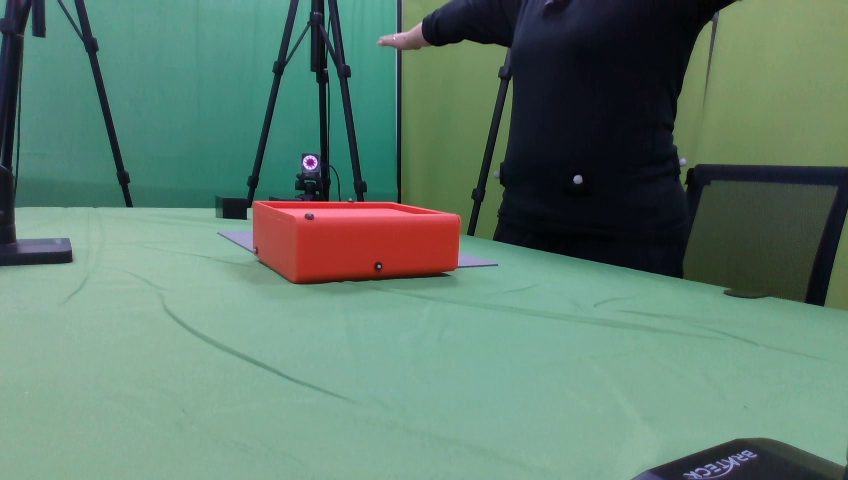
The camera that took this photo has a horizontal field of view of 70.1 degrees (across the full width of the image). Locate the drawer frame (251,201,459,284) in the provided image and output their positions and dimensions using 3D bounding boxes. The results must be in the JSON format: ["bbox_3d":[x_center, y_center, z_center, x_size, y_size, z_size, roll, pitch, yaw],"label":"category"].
[{"bbox_3d":[-0.095,-0.005,0.789,0.215,0.082,0.200,-3,10,-30],"label":"drawer frame"}]

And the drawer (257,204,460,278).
[{"bbox_3d":[-0.090,-0.004,0.793,0.213,0.073,0.193,-3,10,-29],"label":"drawer"}]

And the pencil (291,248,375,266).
[{"bbox_3d":[-0.112,0.020,0.793,0.012,0.012,0.195,6,6,24],"label":"pencil"}]
